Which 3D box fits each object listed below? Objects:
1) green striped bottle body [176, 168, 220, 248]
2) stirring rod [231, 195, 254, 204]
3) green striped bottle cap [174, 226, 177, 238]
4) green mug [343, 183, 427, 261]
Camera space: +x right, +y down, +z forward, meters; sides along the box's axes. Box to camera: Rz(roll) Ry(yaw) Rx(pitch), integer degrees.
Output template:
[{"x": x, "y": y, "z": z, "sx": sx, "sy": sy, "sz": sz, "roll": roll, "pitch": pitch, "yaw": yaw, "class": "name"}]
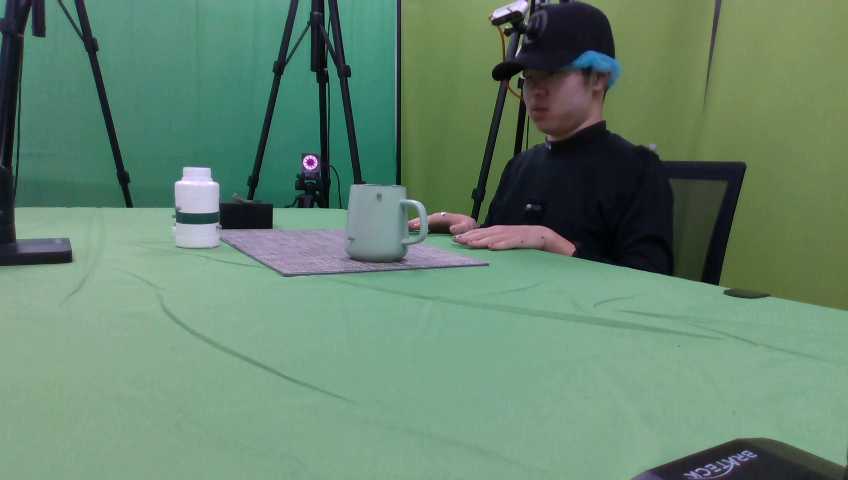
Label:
[{"x": -0.345, "y": -0.050, "z": 0.924, "sx": 0.063, "sy": 0.119, "sz": 0.063, "roll": 2, "pitch": 7, "yaw": 0, "class": "green striped bottle body"}, {"x": -0.372, "y": -0.083, "z": 1.235, "sx": 0.014, "sy": 0.006, "sz": 0.175, "roll": 0, "pitch": 8, "yaw": -28, "class": "stirring rod"}, {"x": -0.404, "y": -0.015, "z": 1.036, "sx": 0.044, "sy": 0.020, "sz": 0.044, "roll": -1, "pitch": 9, "yaw": 1, "class": "green striped bottle cap"}, {"x": -0.053, "y": -0.025, "z": 0.847, "sx": 0.125, "sy": 0.105, "sz": 0.093, "roll": 6, "pitch": 8, "yaw": 27, "class": "green mug"}]
